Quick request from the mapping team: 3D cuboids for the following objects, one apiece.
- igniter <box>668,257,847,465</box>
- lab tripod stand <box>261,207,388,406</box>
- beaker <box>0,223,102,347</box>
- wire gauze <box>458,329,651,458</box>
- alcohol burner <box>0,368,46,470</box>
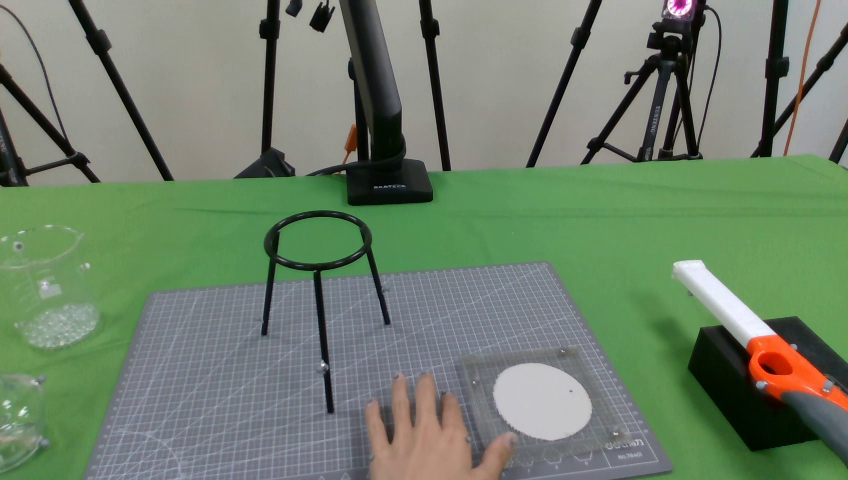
[{"bbox_3d":[0.288,0.092,0.511,0.057,0.025,0.273,-5,30,-7],"label":"igniter"},{"bbox_3d":[-0.089,0.051,0.541,0.148,0.132,0.147,3,33,-2],"label":"lab tripod stand"},{"bbox_3d":[-0.354,0.043,0.577,0.073,0.101,0.084,26,39,32],"label":"beaker"},{"bbox_3d":[0.111,0.127,0.520,0.125,0.011,0.120,-11,32,-30],"label":"wire gauze"},{"bbox_3d":[-0.331,0.115,0.451,0.078,0.120,0.077,2,31,-1],"label":"alcohol burner"}]
